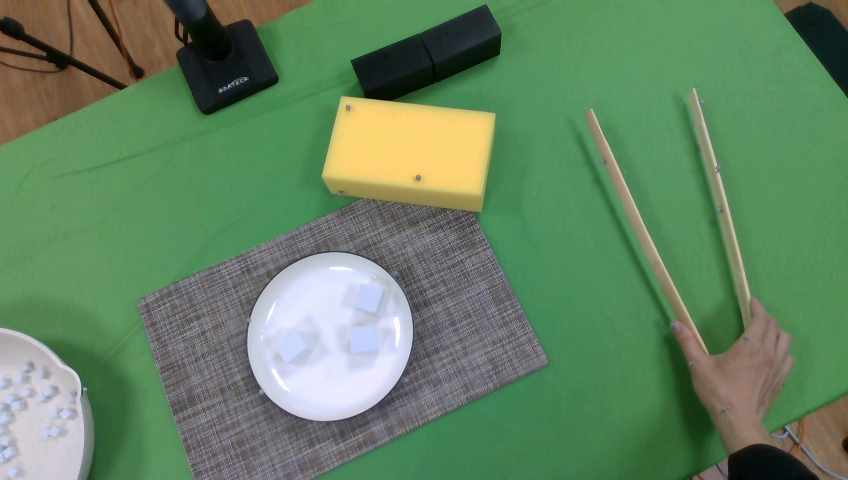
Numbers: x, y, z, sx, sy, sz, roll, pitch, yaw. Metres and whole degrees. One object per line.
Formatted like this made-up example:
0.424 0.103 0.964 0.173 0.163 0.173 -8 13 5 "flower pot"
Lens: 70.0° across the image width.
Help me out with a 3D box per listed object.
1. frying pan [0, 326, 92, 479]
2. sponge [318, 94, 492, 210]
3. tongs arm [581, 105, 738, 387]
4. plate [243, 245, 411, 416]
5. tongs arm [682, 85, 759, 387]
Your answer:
-0.480 0.327 0.686 0.307 0.103 0.483 -33 67 -5 "frying pan"
-0.021 -0.116 0.795 0.206 0.061 0.117 7 74 7 "sponge"
0.281 0.002 0.751 0.028 0.028 0.385 -19 77 -11 "tongs arm"
-0.117 0.111 0.751 0.207 0.039 0.206 -1 75 3 "plate"
0.357 -0.015 0.757 0.051 0.026 0.382 -8 76 -5 "tongs arm"
